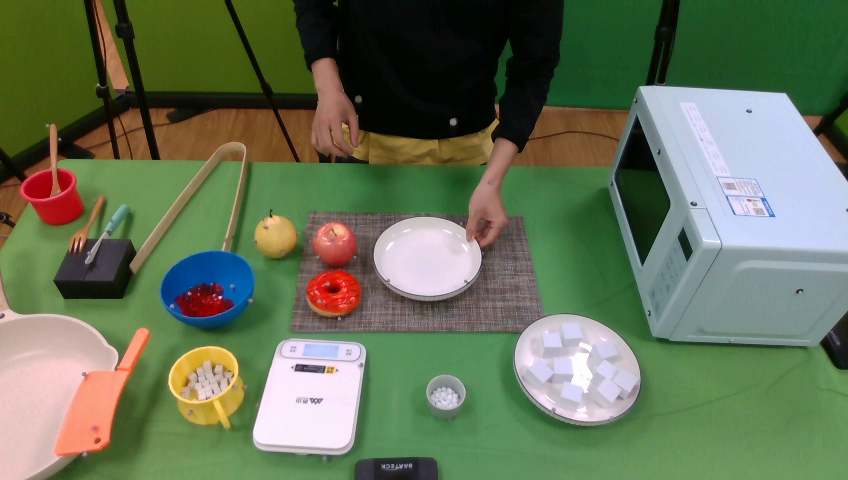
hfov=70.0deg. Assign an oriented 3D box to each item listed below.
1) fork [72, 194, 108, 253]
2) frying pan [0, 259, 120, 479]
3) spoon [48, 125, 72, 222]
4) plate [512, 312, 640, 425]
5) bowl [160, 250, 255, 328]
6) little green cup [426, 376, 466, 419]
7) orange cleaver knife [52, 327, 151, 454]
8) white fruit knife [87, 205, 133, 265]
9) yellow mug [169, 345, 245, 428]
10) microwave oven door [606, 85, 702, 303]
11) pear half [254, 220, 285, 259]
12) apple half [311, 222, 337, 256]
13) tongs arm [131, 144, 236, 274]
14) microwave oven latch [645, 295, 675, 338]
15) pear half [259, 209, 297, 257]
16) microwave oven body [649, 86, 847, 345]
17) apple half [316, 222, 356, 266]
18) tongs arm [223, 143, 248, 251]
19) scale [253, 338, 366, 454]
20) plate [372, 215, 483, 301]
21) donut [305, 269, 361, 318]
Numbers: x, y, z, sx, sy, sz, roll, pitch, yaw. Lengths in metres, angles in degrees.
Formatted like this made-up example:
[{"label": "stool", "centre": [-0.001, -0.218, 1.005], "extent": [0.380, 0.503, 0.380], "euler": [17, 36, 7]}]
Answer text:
[{"label": "fork", "centre": [-0.634, -0.036, 1.158], "extent": [0.028, 0.019, 0.206], "euler": [-8, 31, -8]}, {"label": "frying pan", "centre": [-0.647, 0.164, 0.936], "extent": [0.307, 0.103, 0.485], "euler": [-19, 58, -22]}, {"label": "spoon", "centre": [-0.718, -0.131, 1.189], "extent": [0.041, 0.021, 0.193], "euler": [-4, 90, -6]}, {"label": "plate", "centre": [0.246, 0.213, 0.999], "extent": [0.208, 0.039, 0.206], "euler": [2, 46, -2]}, {"label": "bowl", "centre": [-0.362, 0.098, 1.040], "extent": [0.151, 0.077, 0.150], "euler": [2, 45, -2]}, {"label": "little green cup", "centre": [0.033, 0.248, 0.950], "extent": [0.061, 0.039, 0.061], "euler": [2, 46, -2]}, {"label": "orange cleaver knife", "centre": [-0.462, 0.212, 0.879], "extent": [0.077, 0.012, 0.210], "euler": [7, 45, -2]}, {"label": "white fruit knife", "centre": [-0.584, -0.013, 1.129], "extent": [0.016, 0.027, 0.206], "euler": [-1, 32, -4]}, {"label": "yellow mug", "centre": [-0.322, 0.230, 0.922], "extent": [0.100, 0.064, 0.130], "euler": [-24, 53, -25]}, {"label": "microwave oven door", "centre": [0.423, -0.094, 1.140], "extent": [0.039, 0.245, 0.353], "euler": [2, 46, -1]}, {"label": "pear half", "centre": [-0.293, 0.003, 1.127], "extent": [0.070, 0.088, 0.031], "euler": [25, 49, 16]}, {"label": "apple half", "centre": [-0.190, -0.001, 1.143], "extent": [0.032, 0.081, 0.081], "euler": [28, 51, 18]}, {"label": "tongs arm", "centre": [-0.483, -0.077, 1.235], "extent": [0.028, 0.028, 0.385], "euler": [6, 45, 13]}, {"label": "microwave oven latch", "centre": [0.411, 0.134, 1.061], "extent": [0.030, 0.029, 0.078], "euler": [3, 45, 0]}, {"label": "pear half", "centre": [-0.273, -0.024, 1.141], "extent": [0.076, 0.110, 0.056], "euler": [27, 50, 16]}, {"label": "microwave oven body", "centre": [0.567, -0.053, 1.118], "extent": [0.326, 0.261, 0.439], "euler": [2, 45, -1]}, {"label": "apple half", "centre": [-0.157, 0.015, 1.132], "extent": [0.053, 0.075, 0.080], "euler": [28, 47, 18]}, {"label": "tongs arm", "centre": [-0.397, -0.073, 1.232], "extent": [0.051, 0.027, 0.382], "euler": [-2, 45, 0]}, {"label": "scale", "centre": [-0.175, 0.236, 0.951], "extent": [0.149, 0.032, 0.199], "euler": [4, 46, -1]}, {"label": "plate", "centre": [0.006, 0.037, 1.145], "extent": [0.209, 0.038, 0.208], "euler": [2, 46, -1]}, {"label": "donut", "centre": [-0.160, 0.094, 1.075], "extent": [0.099, 0.048, 0.098], "euler": [4, 45, -3]}]
